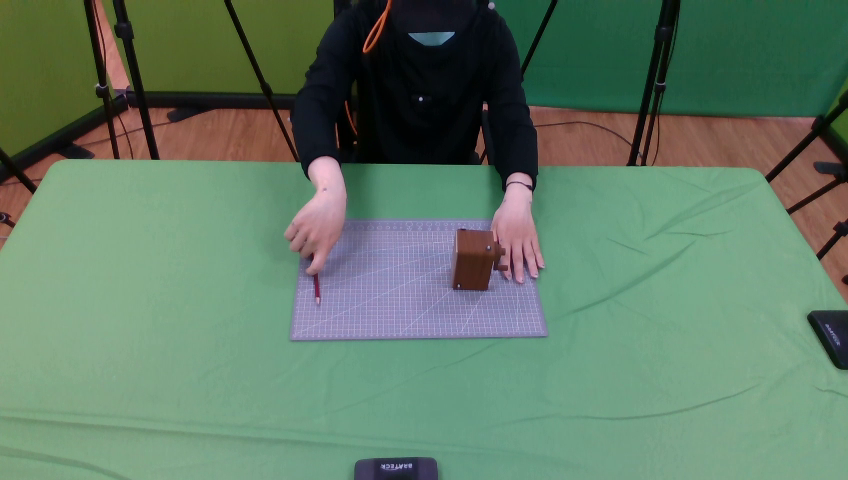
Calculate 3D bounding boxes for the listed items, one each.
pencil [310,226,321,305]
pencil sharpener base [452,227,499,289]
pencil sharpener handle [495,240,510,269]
[{"bbox_3d":[-0.203,0.046,1.141,0.012,0.012,0.192,-6,49,-9],"label":"pencil"},{"bbox_3d":[0.093,0.035,1.102,0.077,0.107,0.061,3,46,-1],"label":"pencil sharpener base"},{"bbox_3d":[0.144,0.029,1.095,0.030,0.068,0.036,3,47,-1],"label":"pencil sharpener handle"}]
